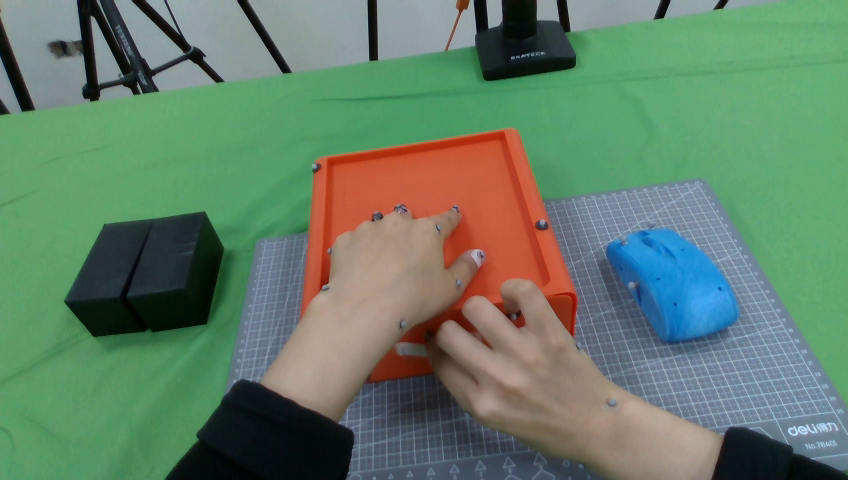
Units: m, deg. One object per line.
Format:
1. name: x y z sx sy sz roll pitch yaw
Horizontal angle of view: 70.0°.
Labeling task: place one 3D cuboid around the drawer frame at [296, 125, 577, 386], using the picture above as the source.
1. drawer frame: 0.003 0.006 0.518 0.202 0.083 0.211 -9 43 1

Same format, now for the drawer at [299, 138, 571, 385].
1. drawer: 0.004 0.008 0.517 0.194 0.074 0.209 -9 44 2

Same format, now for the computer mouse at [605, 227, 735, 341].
1. computer mouse: 0.197 0.028 0.494 0.063 0.041 0.116 -15 40 -2
